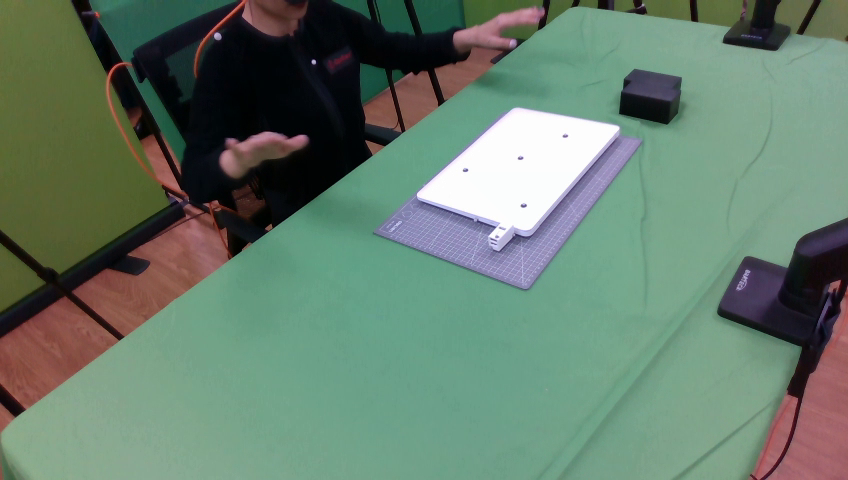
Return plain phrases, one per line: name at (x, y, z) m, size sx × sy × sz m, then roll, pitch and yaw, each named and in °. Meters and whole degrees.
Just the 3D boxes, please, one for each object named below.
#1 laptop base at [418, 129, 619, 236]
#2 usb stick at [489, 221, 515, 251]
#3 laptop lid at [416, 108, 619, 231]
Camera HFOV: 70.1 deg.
laptop base at (0.180, -0.137, 1.112) m, size 0.233 × 0.023 × 0.355 m, roll 19°, pitch 47°, yaw 33°
usb stick at (0.127, -0.011, 0.954) m, size 0.021 × 0.027 × 0.059 m, roll 22°, pitch 47°, yaw 34°
laptop lid at (0.176, -0.147, 1.106) m, size 0.239 × 0.013 × 0.357 m, roll 21°, pitch 48°, yaw 34°
